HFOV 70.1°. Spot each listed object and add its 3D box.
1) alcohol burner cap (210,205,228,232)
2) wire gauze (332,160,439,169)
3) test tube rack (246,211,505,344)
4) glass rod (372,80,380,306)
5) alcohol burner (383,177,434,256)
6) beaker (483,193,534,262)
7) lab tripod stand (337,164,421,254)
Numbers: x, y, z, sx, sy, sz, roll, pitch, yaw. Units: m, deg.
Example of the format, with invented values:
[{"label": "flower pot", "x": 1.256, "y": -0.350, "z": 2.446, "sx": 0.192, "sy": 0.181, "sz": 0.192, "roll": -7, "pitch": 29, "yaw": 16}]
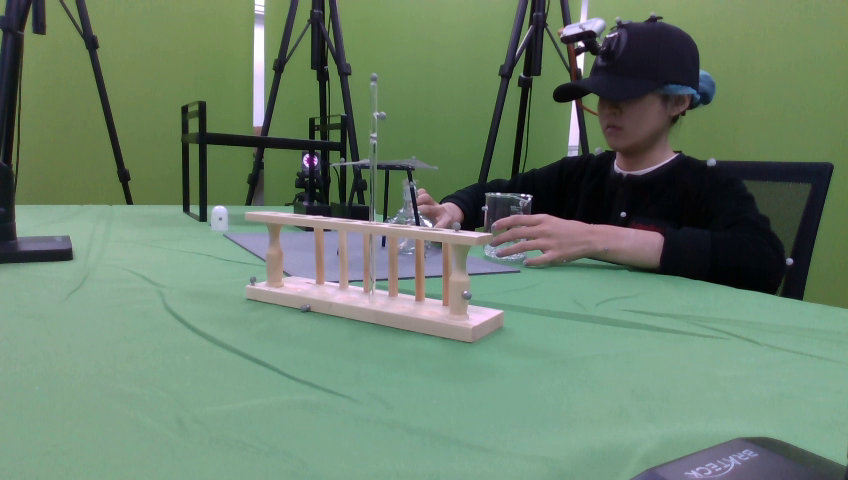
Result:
[{"label": "alcohol burner cap", "x": -0.376, "y": -0.040, "z": 1.107, "sx": 0.034, "sy": 0.048, "sz": 0.034, "roll": 3, "pitch": 7, "yaw": 0}, {"label": "wire gauze", "x": -0.054, "y": -0.111, "z": 0.883, "sx": 0.121, "sy": 0.011, "sz": 0.125, "roll": 4, "pitch": 7, "yaw": 18}, {"label": "test tube rack", "x": -0.049, "y": 0.025, "z": 0.547, "sx": 0.241, "sy": 0.085, "sz": 0.067, "roll": 7, "pitch": 8, "yaw": 29}, {"label": "glass rod", "x": -0.041, "y": -0.039, "z": 0.530, "sx": 0.008, "sy": 0.199, "sz": 0.008, "roll": 0, "pitch": 2, "yaw": 0}, {"label": "alcohol burner", "x": -0.023, "y": -0.036, "z": 0.914, "sx": 0.078, "sy": 0.119, "sz": 0.078, "roll": 4, "pitch": 6, "yaw": 0}, {"label": "beaker", "x": 0.129, "y": -0.019, "z": 0.923, "sx": 0.074, "sy": 0.100, "sz": 0.083, "roll": -2, "pitch": 9, "yaw": -35}, {"label": "lab tripod stand", "x": -0.061, "y": -0.045, "z": 0.894, "sx": 0.148, "sy": 0.131, "sz": 0.148, "roll": 1, "pitch": 6, "yaw": 0}]
